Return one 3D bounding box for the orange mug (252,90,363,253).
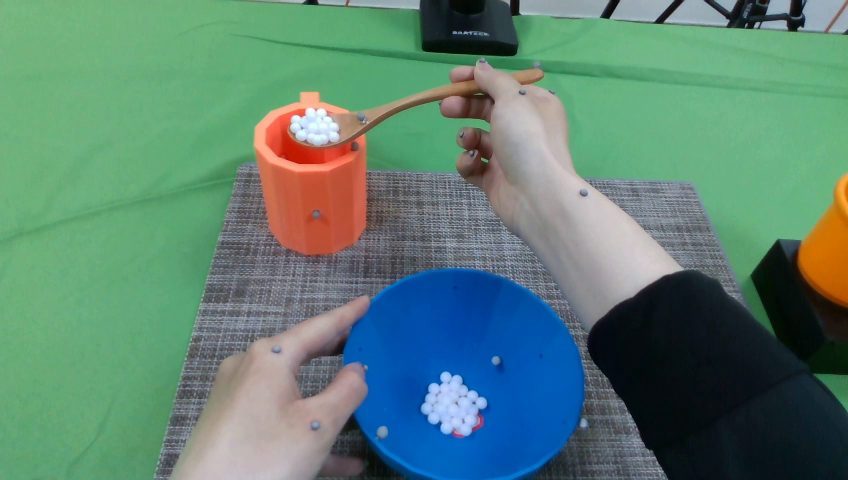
[{"bbox_3d":[-0.097,-0.066,0.517,0.083,0.101,0.125,-4,54,-9],"label":"orange mug"}]

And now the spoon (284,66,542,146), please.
[{"bbox_3d":[-0.009,-0.101,0.447,0.193,0.022,0.041,-15,43,7],"label":"spoon"}]

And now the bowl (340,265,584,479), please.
[{"bbox_3d":[0.021,0.098,0.400,0.151,0.077,0.150,4,48,-4],"label":"bowl"}]
